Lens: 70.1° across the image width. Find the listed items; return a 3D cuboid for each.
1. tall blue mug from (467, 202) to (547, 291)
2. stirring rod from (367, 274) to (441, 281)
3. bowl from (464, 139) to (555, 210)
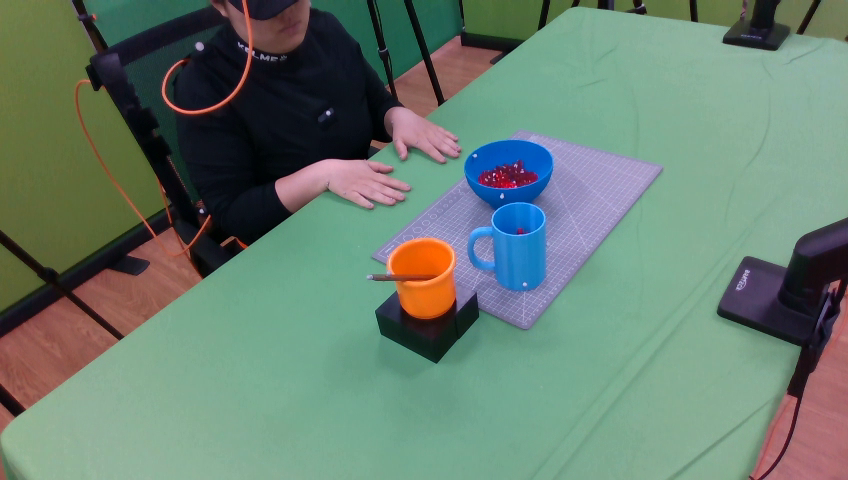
[{"bbox_3d":[0.125,0.015,0.868,0.107,0.108,0.077,-21,42,-14],"label":"tall blue mug"},{"bbox_3d":[-0.021,0.047,0.762,0.014,0.006,0.177,16,4,26],"label":"stirring rod"},{"bbox_3d":[0.145,-0.100,1.025,0.151,0.077,0.150,-5,40,5],"label":"bowl"}]
